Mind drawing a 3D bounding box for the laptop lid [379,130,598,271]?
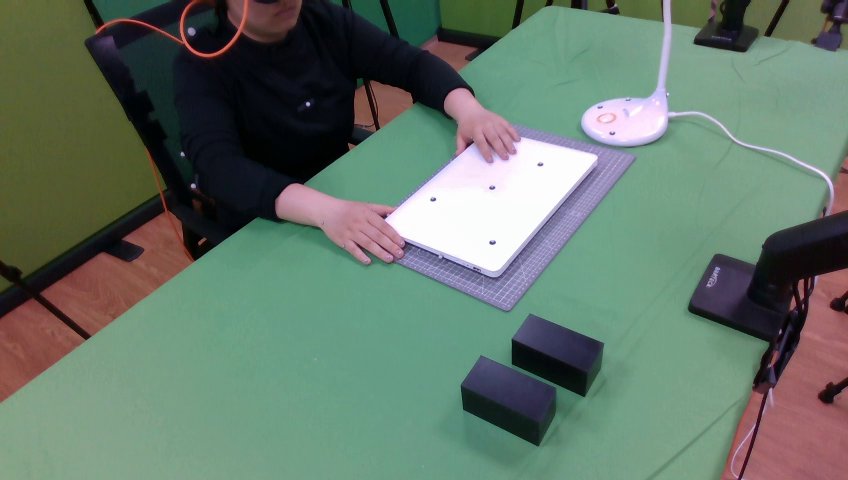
[{"bbox_3d":[0.117,-0.087,1.037,0.240,0.013,0.358,22,48,33],"label":"laptop lid"}]

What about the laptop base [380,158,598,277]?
[{"bbox_3d":[0.120,-0.077,1.043,0.233,0.023,0.355,19,47,33],"label":"laptop base"}]

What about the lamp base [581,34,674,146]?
[{"bbox_3d":[0.392,-0.291,1.129,0.180,0.181,0.159,-11,41,-8],"label":"lamp base"}]
